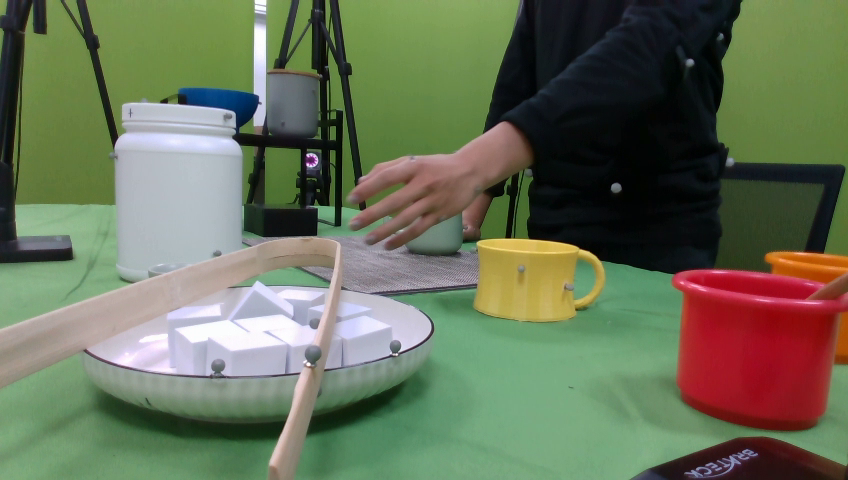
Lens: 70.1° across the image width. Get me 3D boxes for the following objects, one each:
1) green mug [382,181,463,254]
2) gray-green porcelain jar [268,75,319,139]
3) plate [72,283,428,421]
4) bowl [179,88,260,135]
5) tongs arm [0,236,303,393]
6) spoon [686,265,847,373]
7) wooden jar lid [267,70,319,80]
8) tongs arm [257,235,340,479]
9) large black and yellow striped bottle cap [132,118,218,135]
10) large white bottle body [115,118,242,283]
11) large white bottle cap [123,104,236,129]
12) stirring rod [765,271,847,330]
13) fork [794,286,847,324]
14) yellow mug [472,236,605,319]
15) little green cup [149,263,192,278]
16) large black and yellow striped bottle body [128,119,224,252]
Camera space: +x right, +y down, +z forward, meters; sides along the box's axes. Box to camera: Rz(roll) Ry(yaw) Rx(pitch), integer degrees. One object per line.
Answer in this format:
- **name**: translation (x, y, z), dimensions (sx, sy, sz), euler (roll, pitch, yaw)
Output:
- **green mug**: translation (-0.001, -0.036, 0.922), dimensions (0.126, 0.105, 0.092), euler (0, 8, -16)
- **gray-green porcelain jar**: translation (-0.277, -0.278, 1.280), dimensions (0.106, 0.126, 0.106), euler (2, 8, 0)
- **plate**: translation (-0.102, 0.067, 0.381), dimensions (0.208, 0.039, 0.207), euler (2, 7, 0)
- **bowl**: translation (-0.400, -0.248, 1.188), dimensions (0.151, 0.077, 0.151), euler (2, 6, 0)
- **tongs arm**: translation (-0.158, 0.038, 0.351), dimensions (0.028, 0.028, 0.388), euler (-3, 8, 12)
- **spoon**: translation (0.214, 0.032, 0.327), dimensions (0.042, 0.021, 0.193), euler (-3, -35, -26)
- **wooden jar lid**: translation (-0.275, -0.339, 1.271), dimensions (0.108, 0.020, 0.108), euler (5, 6, 0)
- **tongs arm**: translation (-0.074, 0.039, 0.349), dimensions (0.051, 0.026, 0.384), euler (-2, 9, -2)
- **large black and yellow striped bottle cap**: translation (-0.359, -0.164, 0.875), dimensions (0.115, 0.019, 0.115), euler (2, 6, 0)
- **large white bottle body**: translation (-0.270, -0.051, 0.673), dimensions (0.131, 0.184, 0.130), euler (2, 8, 0)
- **large white bottle cap**: translation (-0.266, -0.134, 0.663), dimensions (0.115, 0.018, 0.115), euler (3, 7, 0)
- **stirring rod**: translation (0.352, 0.020, 0.481), dimensions (0.176, 0.006, 0.014), euler (-40, -7, 17)
- **fork**: translation (0.332, 0.018, 0.443), dimensions (0.028, 0.018, 0.207), euler (-3, -35, -16)
- **yellow mug**: translation (0.114, 0.034, 0.590), dimensions (0.131, 0.064, 0.100), euler (3, 7, -7)
- **little green cup**: translation (-0.207, 0.043, 0.531), dimensions (0.061, 0.038, 0.061), euler (3, 6, 0)
- **large black and yellow striped bottle body**: translation (-0.361, -0.081, 0.887), dimensions (0.131, 0.184, 0.130), euler (2, 8, 0)
